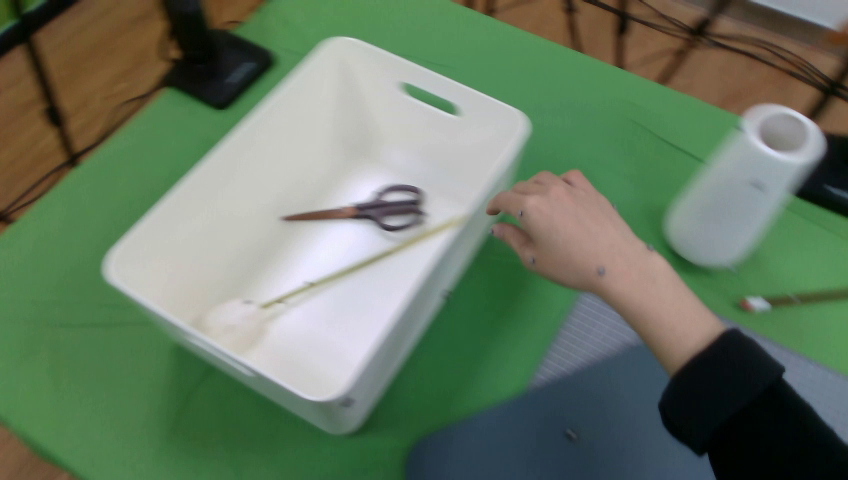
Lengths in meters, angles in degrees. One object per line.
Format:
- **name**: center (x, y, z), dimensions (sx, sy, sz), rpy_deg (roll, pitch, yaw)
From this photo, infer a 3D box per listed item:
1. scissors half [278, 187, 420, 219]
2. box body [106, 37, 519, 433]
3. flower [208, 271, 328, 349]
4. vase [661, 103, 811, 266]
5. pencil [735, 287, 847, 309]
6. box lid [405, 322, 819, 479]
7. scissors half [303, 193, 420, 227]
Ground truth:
- **scissors half**: center (-0.092, -0.045, 0.737), dimensions (0.175, 0.040, 0.012), rpy_deg (0, 21, 5)
- **box body**: center (-0.091, -0.011, 0.646), dimensions (0.253, 0.161, 0.362), rpy_deg (26, 62, 15)
- **flower**: center (-0.092, 0.026, 0.725), dimensions (0.038, 0.044, 0.362), rpy_deg (18, 35, 39)
- **vase**: center (0.331, -0.055, 0.656), dimensions (0.098, 0.201, 0.097), rpy_deg (0, 57, 0)
- **pencil**: center (0.451, 0.063, 0.698), dimensions (0.194, 0.012, 0.012), rpy_deg (-6, 59, -6)
- **box lid**: center (0.192, 0.248, 0.581), dimensions (0.372, 0.015, 0.260), rpy_deg (-21, 62, -12)
- **scissors half**: center (-0.090, -0.031, 0.742), dimensions (0.175, 0.040, 0.013), rpy_deg (-5, 14, 8)
